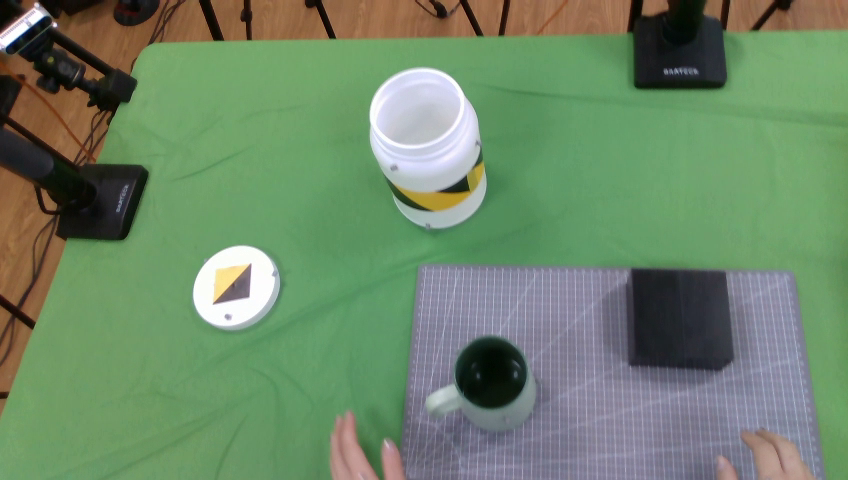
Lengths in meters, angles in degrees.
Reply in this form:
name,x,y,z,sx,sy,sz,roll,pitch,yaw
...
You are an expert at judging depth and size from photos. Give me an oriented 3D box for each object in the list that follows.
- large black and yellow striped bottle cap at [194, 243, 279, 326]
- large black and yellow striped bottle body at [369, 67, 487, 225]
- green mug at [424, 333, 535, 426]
name,x,y,z,sx,sy,sz,roll,pitch,yaw
large black and yellow striped bottle cap,-0.253,0.058,0.813,0.115,0.019,0.114,-4,65,8
large black and yellow striped bottle body,0.007,-0.112,0.751,0.130,0.185,0.129,-4,65,8
green mug,0.060,0.159,0.664,0.125,0.106,0.091,-23,65,-1
